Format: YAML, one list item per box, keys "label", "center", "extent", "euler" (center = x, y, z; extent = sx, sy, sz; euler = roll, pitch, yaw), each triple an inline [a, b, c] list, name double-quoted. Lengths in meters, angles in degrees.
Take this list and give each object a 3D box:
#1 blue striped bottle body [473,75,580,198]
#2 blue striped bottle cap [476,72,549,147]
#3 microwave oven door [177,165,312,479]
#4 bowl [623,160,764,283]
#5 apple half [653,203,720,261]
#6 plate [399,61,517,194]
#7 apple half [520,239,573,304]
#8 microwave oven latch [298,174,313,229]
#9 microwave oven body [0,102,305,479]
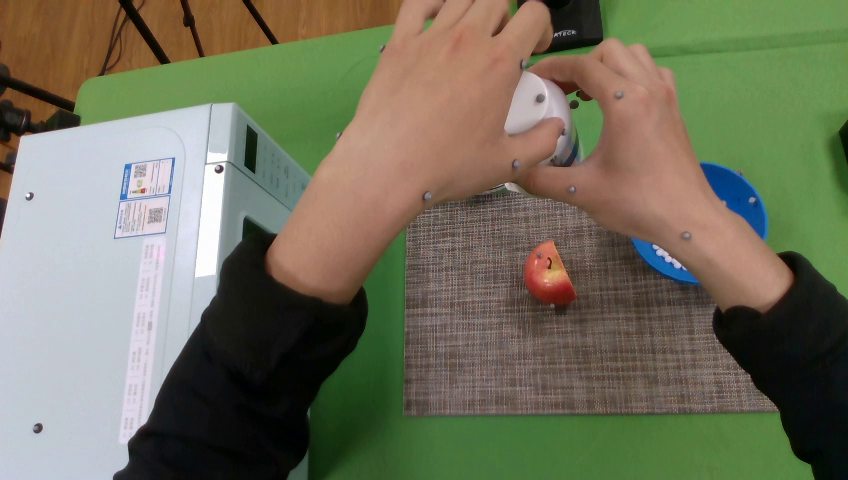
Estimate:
- label: "blue striped bottle body"
  center: [0.074, -0.075, 0.434]
  extent: [0.063, 0.122, 0.063]
  euler: [-4, 78, 20]
- label: "blue striped bottle cap"
  center: [0.056, -0.083, 0.386]
  extent: [0.044, 0.021, 0.044]
  euler: [-5, 75, 20]
- label: "microwave oven door"
  center: [-0.201, 0.120, 0.725]
  extent: [0.039, 0.246, 0.353]
  euler: [-7, 71, 13]
- label: "bowl"
  center: [0.319, -0.013, 0.738]
  extent: [0.151, 0.077, 0.150]
  euler: [-5, 72, 14]
- label: "apple half"
  center: [0.319, -0.014, 0.733]
  extent: [0.081, 0.033, 0.081]
  euler: [-5, 70, 13]
- label: "plate"
  center: [0.069, -0.159, 0.876]
  extent: [0.207, 0.039, 0.206]
  euler: [-4, 72, 13]
- label: "apple half"
  center: [0.150, 0.046, 0.765]
  extent: [0.053, 0.075, 0.080]
  euler: [-24, 72, 10]
- label: "microwave oven latch"
  center: [-0.179, -0.056, 0.886]
  extent: [0.030, 0.030, 0.078]
  euler: [-7, 72, 12]
- label: "microwave oven body"
  center: [-0.343, 0.097, 0.774]
  extent: [0.325, 0.262, 0.439]
  euler: [-6, 72, 12]
